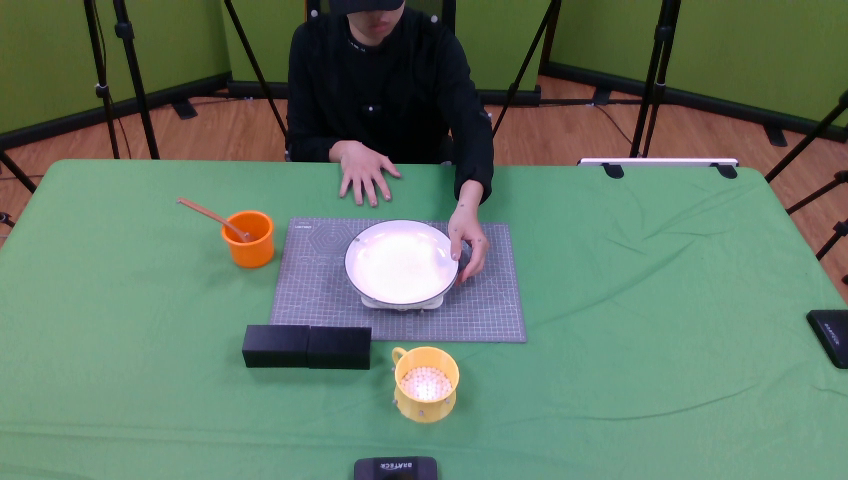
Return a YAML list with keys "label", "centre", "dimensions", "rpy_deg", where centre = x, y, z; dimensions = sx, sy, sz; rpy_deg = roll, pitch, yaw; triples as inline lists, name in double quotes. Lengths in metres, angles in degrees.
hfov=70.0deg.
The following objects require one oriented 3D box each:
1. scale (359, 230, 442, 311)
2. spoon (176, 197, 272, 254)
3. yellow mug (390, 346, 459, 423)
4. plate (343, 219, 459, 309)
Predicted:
- label: "scale"
  centre: [-0.043, 0.048, 1.137]
  dimensions: [0.149, 0.032, 0.199]
  rpy_deg: [2, 46, -3]
- label: "spoon"
  centre: [-0.362, -0.027, 1.108]
  dimensions: [0.021, 0.195, 0.041]
  rpy_deg: [-35, 36, 24]
- label: "yellow mug"
  centre: [-0.009, 0.217, 0.958]
  dimensions: [0.100, 0.064, 0.130]
  rpy_deg: [-33, 56, -31]
- label: "plate"
  centre: [-0.041, 0.046, 1.094]
  dimensions: [0.209, 0.038, 0.208]
  rpy_deg: [2, 46, -2]
